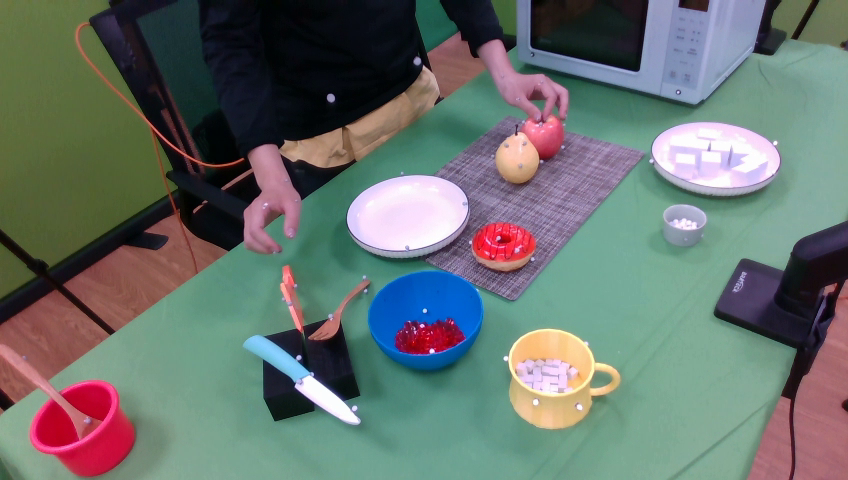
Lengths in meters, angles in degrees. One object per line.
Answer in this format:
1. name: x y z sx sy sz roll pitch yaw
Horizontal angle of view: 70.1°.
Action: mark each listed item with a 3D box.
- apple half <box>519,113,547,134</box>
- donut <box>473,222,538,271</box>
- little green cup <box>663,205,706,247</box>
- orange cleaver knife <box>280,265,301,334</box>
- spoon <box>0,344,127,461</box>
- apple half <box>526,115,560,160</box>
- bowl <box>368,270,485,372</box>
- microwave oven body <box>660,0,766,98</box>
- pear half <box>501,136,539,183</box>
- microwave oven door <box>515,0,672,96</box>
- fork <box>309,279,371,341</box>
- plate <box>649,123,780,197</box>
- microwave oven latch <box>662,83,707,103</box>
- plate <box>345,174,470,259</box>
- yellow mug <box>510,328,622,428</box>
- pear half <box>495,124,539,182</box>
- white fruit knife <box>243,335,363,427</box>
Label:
1. apple half: 0.200 -0.202 1.137 0.032 0.081 0.081 29 52 32
2. donut: 0.123 0.008 0.923 0.099 0.048 0.098 -3 37 3
3. little green cup: 0.396 -0.021 0.926 0.061 0.039 0.061 -4 40 4
4. orange cleaver knife: -0.188 0.081 0.862 0.012 0.077 0.210 -20 12 -9
5. spoon: -0.433 0.191 0.721 0.194 0.021 0.042 47 53 -6
6. apple half: 0.223 -0.187 1.117 0.053 0.075 0.081 15 38 22
7. bowl: 0.007 0.118 0.791 0.151 0.077 0.150 -5 40 4
8. microwave oven body: 0.472 -0.513 1.317 0.438 0.261 0.327 26 51 34
9. pear half: 0.172 -0.134 1.048 0.071 0.088 0.031 -16 41 -16
10. microwave oven door: 0.343 -0.455 1.259 0.353 0.245 0.039 26 51 33
11. fork: -0.109 0.093 0.832 0.028 0.018 0.207 -4 19 15
12. plate: 0.497 -0.135 1.046 0.207 0.039 0.206 -4 40 4
13. microwave oven latch: 0.517 -0.296 1.204 0.078 0.029 0.030 27 52 35
14. plate: -0.026 -0.037 1.004 0.209 0.038 0.208 -4 40 4
15. yellow mug: 0.168 0.164 0.722 0.130 0.064 0.099 0 40 8
16. pear half: 0.160 -0.162 1.067 0.076 0.110 0.055 -17 41 -15
17. white fruit knife: -0.148 0.167 0.729 0.206 0.016 0.027 27 80 31
